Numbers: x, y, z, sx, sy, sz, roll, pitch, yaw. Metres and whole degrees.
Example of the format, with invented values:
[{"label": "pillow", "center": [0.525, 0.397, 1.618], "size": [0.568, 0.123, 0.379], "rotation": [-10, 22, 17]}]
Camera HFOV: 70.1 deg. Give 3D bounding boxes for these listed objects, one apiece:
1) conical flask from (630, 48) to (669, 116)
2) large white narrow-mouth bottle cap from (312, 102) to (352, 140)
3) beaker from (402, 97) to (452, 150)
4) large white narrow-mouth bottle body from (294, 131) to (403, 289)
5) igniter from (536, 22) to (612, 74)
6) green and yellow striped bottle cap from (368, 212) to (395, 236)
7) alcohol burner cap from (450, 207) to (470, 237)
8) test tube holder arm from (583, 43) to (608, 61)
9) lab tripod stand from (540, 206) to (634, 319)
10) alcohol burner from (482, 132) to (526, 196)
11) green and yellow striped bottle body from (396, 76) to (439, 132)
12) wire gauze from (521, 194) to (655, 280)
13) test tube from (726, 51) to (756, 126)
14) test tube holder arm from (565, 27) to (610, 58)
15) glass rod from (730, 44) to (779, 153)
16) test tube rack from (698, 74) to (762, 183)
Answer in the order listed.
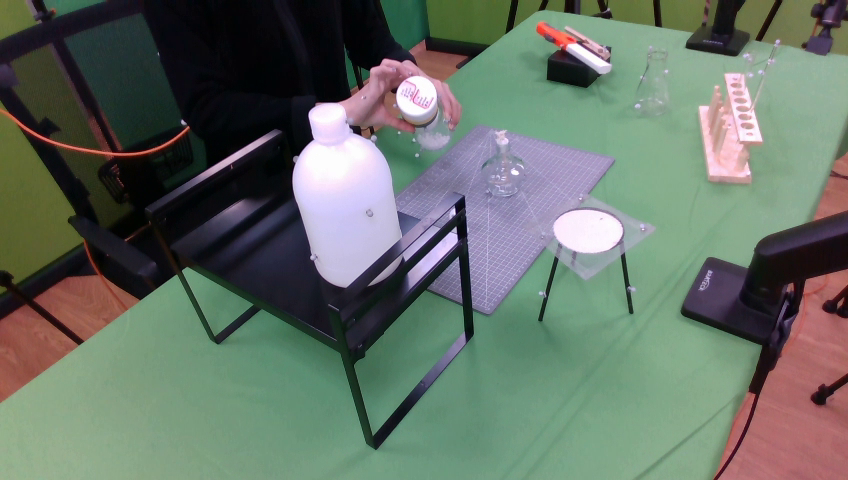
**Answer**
[{"label": "conical flask", "center": [0.456, -0.317, 1.205], "size": [0.075, 0.122, 0.075], "rotation": [-4, 41, 4]}, {"label": "large white narrow-mouth bottle cap", "center": [-0.089, -0.114, 0.579], "size": [0.038, 0.024, 0.037], "rotation": [-3, 39, 3]}, {"label": "beaker", "center": [0.008, -0.210, 1.077], "size": [0.074, 0.101, 0.083], "rotation": [-5, 75, 12]}, {"label": "large white narrow-mouth bottle body", "center": [-0.082, -0.047, 0.634], "size": [0.102, 0.195, 0.101], "rotation": [-4, 39, 4]}, {"label": "igniter", "center": [0.330, -0.438, 1.366], "size": [0.057, 0.025, 0.274], "rotation": [-11, 41, -19]}, {"label": "green and yellow striped bottle cap", "center": [-0.071, -0.028, 1.021], "size": [0.045, 0.020, 0.045], "rotation": [-5, 40, 4]}, {"label": "alcohol burner cap", "center": [0.057, -0.032, 0.987], "size": [0.034, 0.048, 0.033], "rotation": [-4, 41, 4]}, {"label": "test tube holder arm", "center": [0.379, -0.420, 1.341], "size": [0.010, 0.015, 0.087], "rotation": [-39, 41, 10]}, {"label": "lab tripod stand", "center": [0.218, 0.034, 0.821], "size": [0.148, 0.132, 0.147], "rotation": [-4, 42, 4]}, {"label": "alcohol burner", "center": [0.138, -0.136, 1.042], "size": [0.078, 0.119, 0.077], "rotation": [-4, 43, 4]}, {"label": "green and yellow striped bottle body", "center": [-0.008, -0.215, 0.978], "size": [0.063, 0.120, 0.063], "rotation": [0, 85, 3]}, {"label": "wire gauze", "center": [0.207, -0.012, 0.772], "size": [0.122, 0.011, 0.124], "rotation": [-28, 44, -20]}, {"label": "test tube", "center": [0.568, -0.268, 1.086], "size": [0.017, 0.151, 0.017], "rotation": [-4, 46, 4]}, {"label": "test tube holder arm", "center": [0.369, -0.450, 1.373], "size": [0.013, 0.015, 0.177], "rotation": [-39, 41, 10]}, {"label": "glass rod", "center": [0.555, -0.233, 1.020], "size": [0.008, 0.200, 0.008], "rotation": [2, 39, -1]}, {"label": "test tube rack", "center": [0.547, -0.208, 1.095], "size": [0.066, 0.085, 0.242], "rotation": [5, 42, 15]}]
